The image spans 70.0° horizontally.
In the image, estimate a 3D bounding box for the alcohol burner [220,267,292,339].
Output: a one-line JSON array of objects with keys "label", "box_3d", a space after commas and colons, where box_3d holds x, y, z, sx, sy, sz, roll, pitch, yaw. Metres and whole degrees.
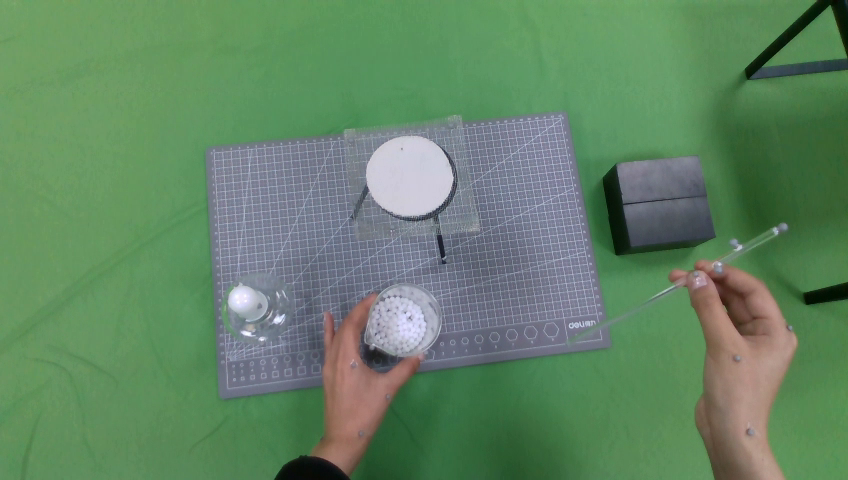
[{"label": "alcohol burner", "box_3d": [-0.181, 0.065, 0.642, 0.078, 0.119, 0.077, 1, 79, -4]}]

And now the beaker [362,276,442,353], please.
[{"label": "beaker", "box_3d": [-0.030, 0.085, 0.645, 0.084, 0.100, 0.074, -28, 85, -13]}]

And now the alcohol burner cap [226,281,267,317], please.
[{"label": "alcohol burner cap", "box_3d": [-0.180, 0.058, 0.607, 0.034, 0.048, 0.033, 0, 73, 2]}]

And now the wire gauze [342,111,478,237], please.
[{"label": "wire gauze", "box_3d": [-0.015, -0.065, 0.600, 0.125, 0.011, 0.121, -6, 79, -4]}]

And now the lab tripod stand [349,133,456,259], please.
[{"label": "lab tripod stand", "box_3d": [-0.015, -0.055, 0.666, 0.148, 0.132, 0.147, 1, 76, -2]}]

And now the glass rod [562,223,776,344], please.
[{"label": "glass rod", "box_3d": [0.189, 0.041, 0.492, 0.008, 0.200, 0.008, 29, 41, -28]}]
